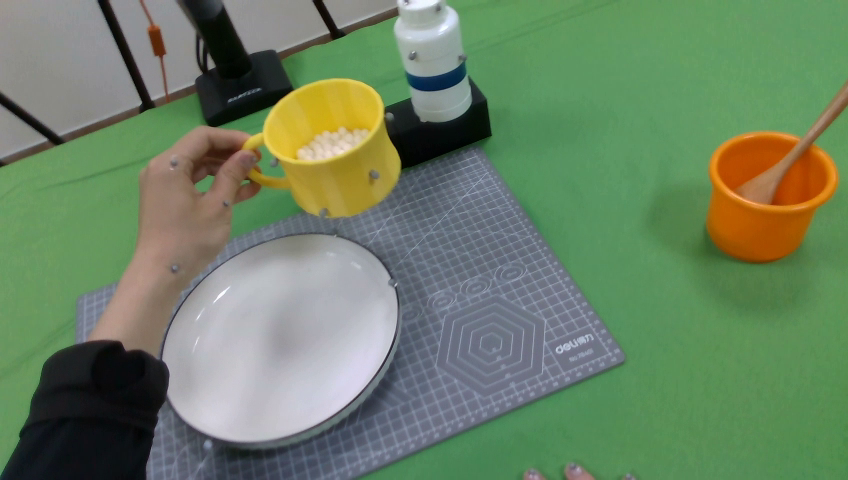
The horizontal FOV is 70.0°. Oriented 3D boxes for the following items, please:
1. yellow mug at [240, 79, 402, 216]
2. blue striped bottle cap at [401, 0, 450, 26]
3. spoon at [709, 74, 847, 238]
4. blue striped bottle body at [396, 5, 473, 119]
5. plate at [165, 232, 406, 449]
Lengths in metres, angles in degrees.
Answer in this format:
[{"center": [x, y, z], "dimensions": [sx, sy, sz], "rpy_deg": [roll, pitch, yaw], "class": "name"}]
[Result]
[{"center": [-0.089, -0.074, 0.505], "dimensions": [0.131, 0.064, 0.099], "rpy_deg": [-13, 51, 3], "class": "yellow mug"}, {"center": [0.001, -0.218, 0.559], "dimensions": [0.044, 0.021, 0.044], "rpy_deg": [-9, 49, 11], "class": "blue striped bottle cap"}, {"center": [0.298, -0.081, 0.481], "dimensions": [0.194, 0.022, 0.041], "rpy_deg": [-55, 44, 20], "class": "spoon"}, {"center": [0.010, -0.185, 0.597], "dimensions": [0.063, 0.122, 0.062], "rpy_deg": [-7, 49, 9], "class": "blue striped bottle body"}, {"center": [-0.115, 0.082, 0.522], "dimensions": [0.207, 0.039, 0.205], "rpy_deg": [-7, 49, 8], "class": "plate"}]
